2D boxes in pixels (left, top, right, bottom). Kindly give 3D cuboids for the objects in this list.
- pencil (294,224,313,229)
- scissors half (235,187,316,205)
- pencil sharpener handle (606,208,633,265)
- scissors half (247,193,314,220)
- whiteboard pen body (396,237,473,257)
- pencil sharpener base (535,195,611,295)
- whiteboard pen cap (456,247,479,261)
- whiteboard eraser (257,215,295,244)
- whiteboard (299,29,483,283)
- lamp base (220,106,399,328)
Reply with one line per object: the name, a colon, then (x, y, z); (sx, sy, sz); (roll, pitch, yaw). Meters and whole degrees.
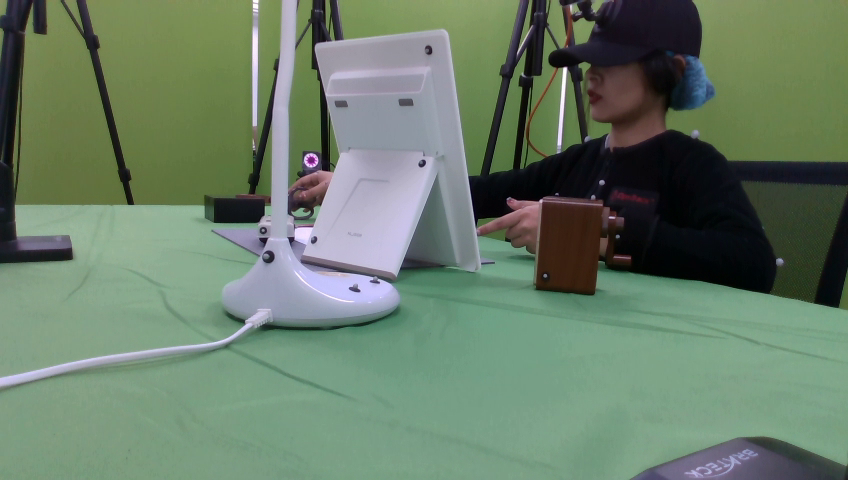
pencil: (-0.218, -0.028, 1.207); (0.195, 0.012, 0.012); (-5, 11, -37)
scissors half: (-0.320, -0.097, 1.316); (0.176, 0.040, 0.013); (-2, 9, -27)
pencil sharpener handle: (0.223, -0.004, 0.683); (0.030, 0.068, 0.036); (5, 20, 17)
scissors half: (-0.325, -0.077, 1.319); (0.176, 0.040, 0.012); (17, 6, -29)
whiteboard pen body: (0.014, 0.012, 0.886); (0.140, 0.017, 0.017); (10, 11, 38)
pencil sharpener base: (0.172, 0.005, 0.696); (0.076, 0.107, 0.061); (5, 7, 16)
whiteboard pen cap: (0.060, 0.020, 0.851); (0.033, 0.018, 0.018); (10, 10, 37)
whiteboard eraser: (-0.232, -0.016, 0.951); (0.056, 0.042, 0.112); (1, 7, -12)
whiteboard: (-0.074, -0.082, 0.742); (0.216, 0.305, 0.144); (9, 30, 38)
lamp base: (-0.101, -0.023, 0.531); (0.160, 0.180, 0.179); (4, 10, 10)
